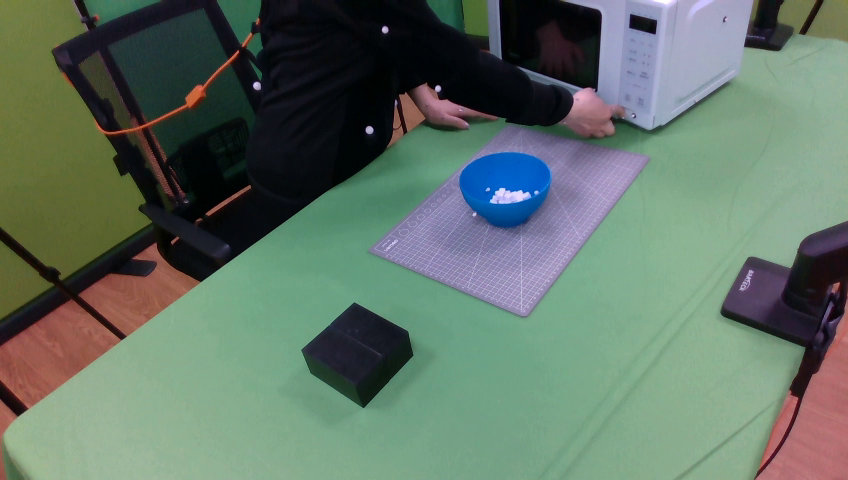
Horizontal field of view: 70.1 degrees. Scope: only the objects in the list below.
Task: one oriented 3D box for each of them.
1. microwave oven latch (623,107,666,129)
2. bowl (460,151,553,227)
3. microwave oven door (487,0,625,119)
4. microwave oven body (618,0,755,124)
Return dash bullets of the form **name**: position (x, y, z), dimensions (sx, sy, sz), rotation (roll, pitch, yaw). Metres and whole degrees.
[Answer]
- **microwave oven latch**: position (0.417, -0.238, 1.147), dimensions (0.030, 0.029, 0.078), rotation (-27, 42, -18)
- **bowl**: position (0.137, -0.074, 1.001), dimensions (0.151, 0.077, 0.150), rotation (-5, 40, 5)
- **microwave oven door**: position (0.262, -0.409, 1.221), dimensions (0.039, 0.245, 0.352), rotation (-33, 45, -25)
- **microwave oven body**: position (0.402, -0.458, 1.260), dimensions (0.327, 0.261, 0.437), rotation (-33, 45, -24)
